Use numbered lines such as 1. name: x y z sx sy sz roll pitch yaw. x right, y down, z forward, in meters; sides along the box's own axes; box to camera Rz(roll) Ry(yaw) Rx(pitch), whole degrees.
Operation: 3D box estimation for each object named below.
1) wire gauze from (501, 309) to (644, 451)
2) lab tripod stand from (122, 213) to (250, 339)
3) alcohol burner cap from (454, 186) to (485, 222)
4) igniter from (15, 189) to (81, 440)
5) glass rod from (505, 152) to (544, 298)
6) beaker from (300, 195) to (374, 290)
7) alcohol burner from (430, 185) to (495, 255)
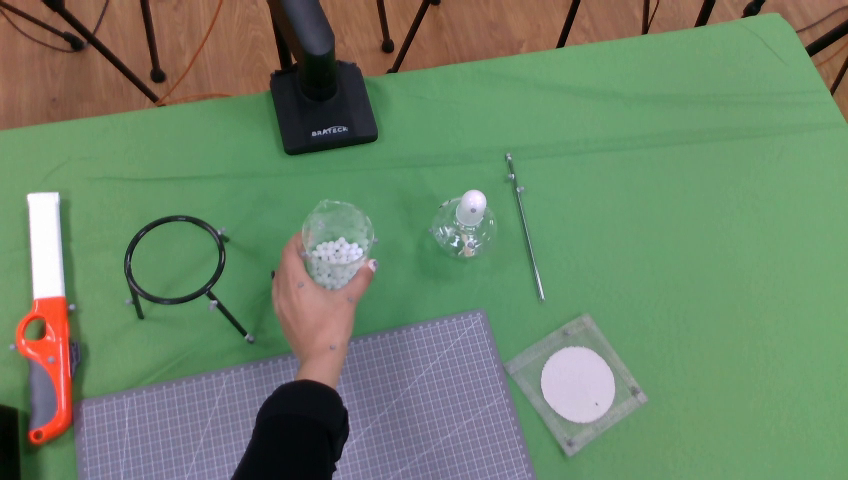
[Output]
1. wire gauze: 0.172 0.158 0.696 0.125 0.011 0.121 -29 75 -14
2. lab tripod stand: -0.240 0.035 0.623 0.148 0.132 0.147 2 67 -5
3. alcohol burner cap: 0.051 -0.041 0.662 0.034 0.048 0.033 2 73 -5
4. igniter: -0.402 0.071 0.645 0.057 0.025 0.274 -5 69 -25
5. glass rod: 0.125 -0.023 0.759 0.008 0.008 0.198 -7 70 -10
6. beaker: -0.098 0.006 0.667 0.074 0.101 0.083 -19 71 -16
7. alcohol burner: 0.047 -0.028 0.695 0.078 0.120 0.077 3 66 -5
